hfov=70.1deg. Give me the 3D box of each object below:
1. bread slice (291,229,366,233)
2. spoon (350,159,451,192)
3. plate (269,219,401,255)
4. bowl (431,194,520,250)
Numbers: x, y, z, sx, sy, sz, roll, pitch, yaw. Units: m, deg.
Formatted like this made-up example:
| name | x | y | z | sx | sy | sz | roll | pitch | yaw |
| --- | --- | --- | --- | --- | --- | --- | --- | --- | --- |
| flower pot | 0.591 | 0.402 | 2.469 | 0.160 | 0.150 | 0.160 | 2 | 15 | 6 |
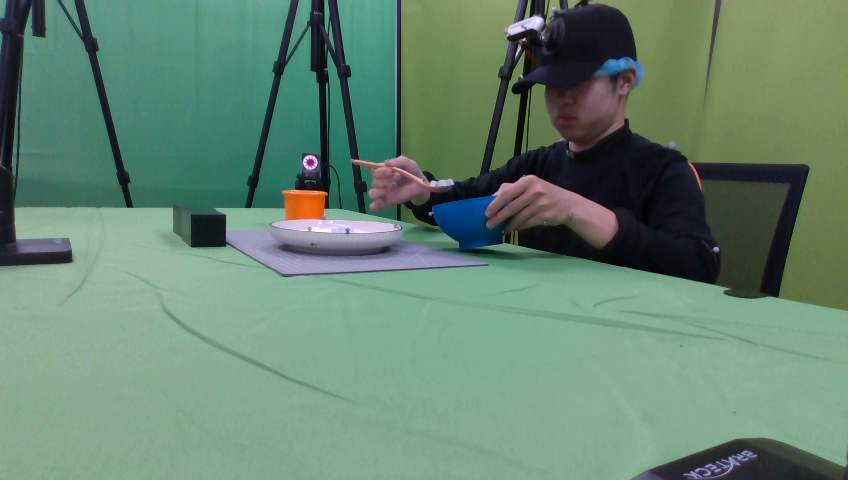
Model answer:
| name | x | y | z | sx | sy | sz | roll | pitch | yaw |
| --- | --- | --- | --- | --- | --- | --- | --- | --- | --- |
| bread slice | -0.143 | -0.003 | 0.953 | 0.135 | 0.018 | 0.106 | -1 | 8 | -37 |
| spoon | -0.042 | -0.113 | 1.027 | 0.193 | 0.021 | 0.042 | 22 | 17 | 22 |
| plate | -0.140 | -0.006 | 0.958 | 0.209 | 0.038 | 0.209 | 3 | 7 | 0 |
| bowl | 0.090 | -0.027 | 1.008 | 0.151 | 0.076 | 0.151 | -7 | -1 | 0 |
